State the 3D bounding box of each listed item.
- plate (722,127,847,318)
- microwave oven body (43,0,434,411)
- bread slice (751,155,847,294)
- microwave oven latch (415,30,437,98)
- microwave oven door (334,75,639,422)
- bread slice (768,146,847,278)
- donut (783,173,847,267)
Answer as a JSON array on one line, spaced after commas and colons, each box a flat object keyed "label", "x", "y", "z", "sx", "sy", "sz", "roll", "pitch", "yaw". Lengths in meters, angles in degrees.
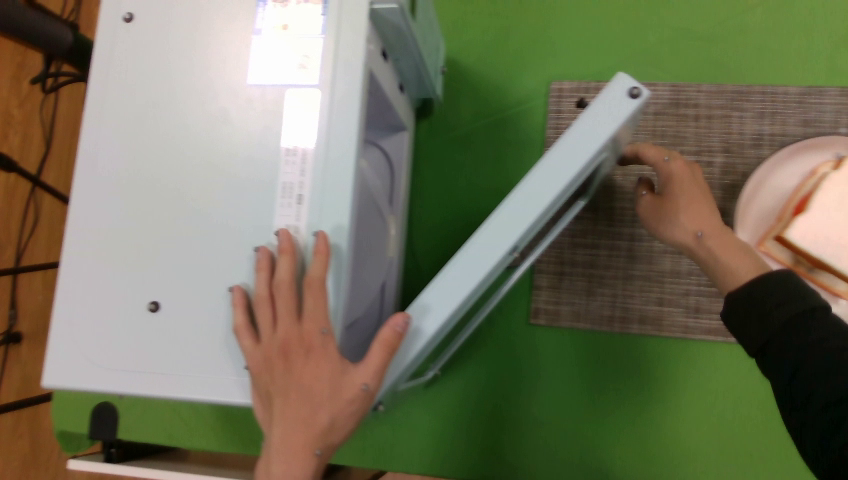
[{"label": "plate", "x": 0.433, "y": -0.018, "z": 0.660, "sx": 0.207, "sy": 0.039, "sz": 0.207, "roll": -1, "pitch": 82, "yaw": 10}, {"label": "microwave oven body", "x": -0.173, "y": -0.062, "z": 0.658, "sx": 0.325, "sy": 0.261, "sz": 0.440, "roll": 2, "pitch": 83, "yaw": 10}, {"label": "bread slice", "x": 0.436, "y": -0.025, "z": 0.660, "sx": 0.106, "sy": 0.018, "sz": 0.134, "roll": 29, "pitch": 87, "yaw": 12}, {"label": "microwave oven latch", "x": 0.000, "y": -0.218, "z": 0.749, "sx": 0.030, "sy": 0.029, "sz": 0.079, "roll": 3, "pitch": 83, "yaw": 10}, {"label": "microwave oven door", "x": 0.068, "y": 0.022, "z": 0.600, "sx": 0.039, "sy": 0.245, "sz": 0.355, "roll": 40, "pitch": 90, "yaw": 14}, {"label": "bread slice", "x": 0.428, "y": -0.032, "z": 0.604, "sx": 0.104, "sy": 0.019, "sz": 0.131, "roll": 34, "pitch": 86, "yaw": 19}, {"label": "donut", "x": 0.429, "y": -0.021, "z": 0.633, "sx": 0.099, "sy": 0.048, "sz": 0.098, "roll": -1, "pitch": 83, "yaw": 11}]
